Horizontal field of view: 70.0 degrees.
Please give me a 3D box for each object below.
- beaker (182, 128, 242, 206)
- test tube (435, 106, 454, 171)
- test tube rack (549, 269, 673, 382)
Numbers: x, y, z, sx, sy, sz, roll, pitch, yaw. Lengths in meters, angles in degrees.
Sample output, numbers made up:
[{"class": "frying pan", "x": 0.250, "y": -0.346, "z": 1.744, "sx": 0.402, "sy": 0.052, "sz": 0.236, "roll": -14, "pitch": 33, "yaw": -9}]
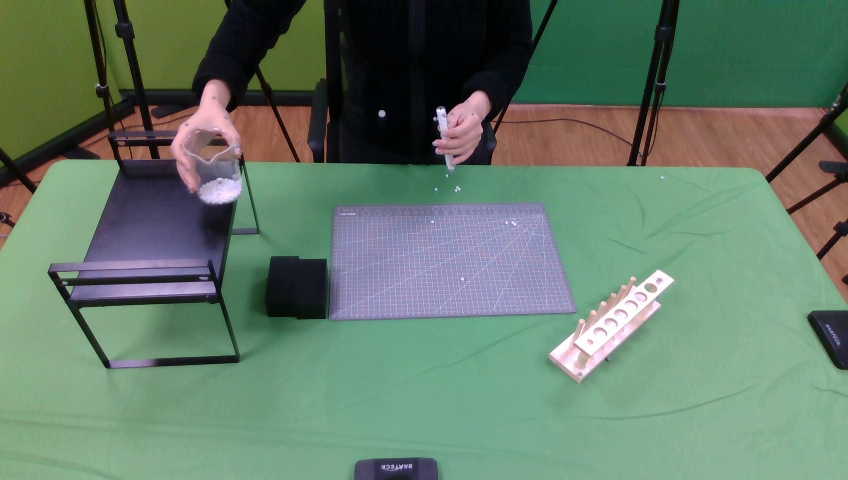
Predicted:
[{"class": "beaker", "x": -0.323, "y": -0.108, "z": 0.935, "sx": 0.074, "sy": 0.101, "sz": 0.083, "roll": -8, "pitch": 45, "yaw": -10}, {"class": "test tube", "x": 0.037, "y": -0.171, "z": 1.044, "sx": 0.017, "sy": 0.151, "sz": 0.017, "roll": -5, "pitch": 56, "yaw": 7}, {"class": "test tube rack", "x": 0.325, "y": 0.134, "z": 1.047, "sx": 0.242, "sy": 0.085, "sz": 0.066, "roll": -32, "pitch": 56, "yaw": -30}]
